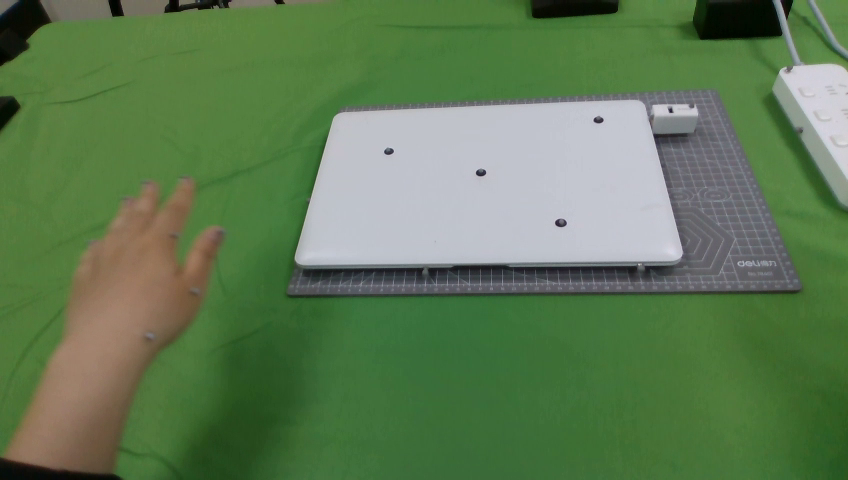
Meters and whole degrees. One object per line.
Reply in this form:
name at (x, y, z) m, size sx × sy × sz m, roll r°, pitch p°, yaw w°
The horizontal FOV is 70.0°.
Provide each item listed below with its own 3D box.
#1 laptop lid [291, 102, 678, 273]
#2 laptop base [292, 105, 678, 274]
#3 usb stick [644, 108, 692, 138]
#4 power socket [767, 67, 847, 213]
laptop lid at (0.055, -0.062, 0.617) m, size 0.356 × 0.013 × 0.239 m, roll 0°, pitch 49°, yaw 8°
laptop base at (0.057, -0.055, 0.627) m, size 0.354 × 0.023 × 0.233 m, roll -1°, pitch 50°, yaw 7°
usb stick at (0.253, -0.125, 0.650) m, size 0.059 × 0.027 × 0.021 m, roll -2°, pitch 46°, yaw 10°
power socket at (0.421, -0.109, 0.618) m, size 0.072 × 0.033 × 0.224 m, roll -1°, pitch 46°, yaw 5°
